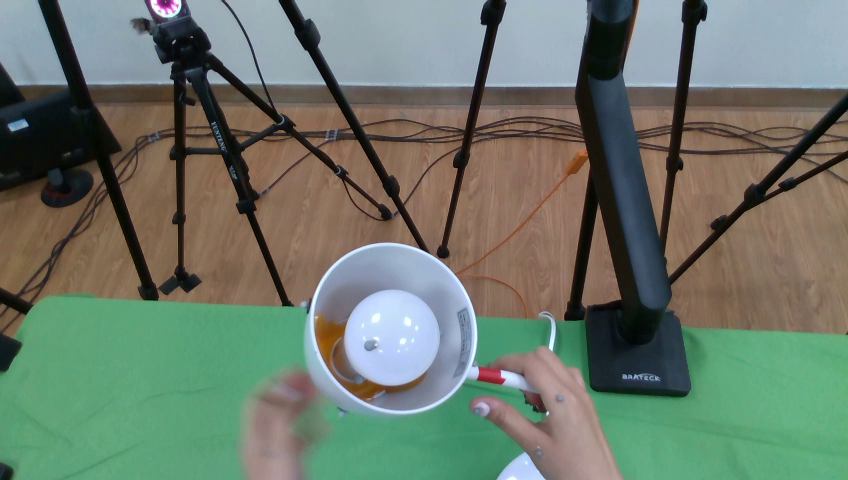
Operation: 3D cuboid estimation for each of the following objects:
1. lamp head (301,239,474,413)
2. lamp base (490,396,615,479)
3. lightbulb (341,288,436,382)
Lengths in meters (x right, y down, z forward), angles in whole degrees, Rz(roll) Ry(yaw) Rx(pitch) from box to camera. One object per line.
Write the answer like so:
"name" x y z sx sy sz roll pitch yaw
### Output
"lamp head" -0.034 0.072 0.430 0.113 0.123 0.111 7 65 -14
"lamp base" 0.137 0.247 0.613 0.161 0.182 0.177 -8 50 -1
"lightbulb" -0.031 0.068 0.405 0.060 0.108 0.059 8 67 -20
